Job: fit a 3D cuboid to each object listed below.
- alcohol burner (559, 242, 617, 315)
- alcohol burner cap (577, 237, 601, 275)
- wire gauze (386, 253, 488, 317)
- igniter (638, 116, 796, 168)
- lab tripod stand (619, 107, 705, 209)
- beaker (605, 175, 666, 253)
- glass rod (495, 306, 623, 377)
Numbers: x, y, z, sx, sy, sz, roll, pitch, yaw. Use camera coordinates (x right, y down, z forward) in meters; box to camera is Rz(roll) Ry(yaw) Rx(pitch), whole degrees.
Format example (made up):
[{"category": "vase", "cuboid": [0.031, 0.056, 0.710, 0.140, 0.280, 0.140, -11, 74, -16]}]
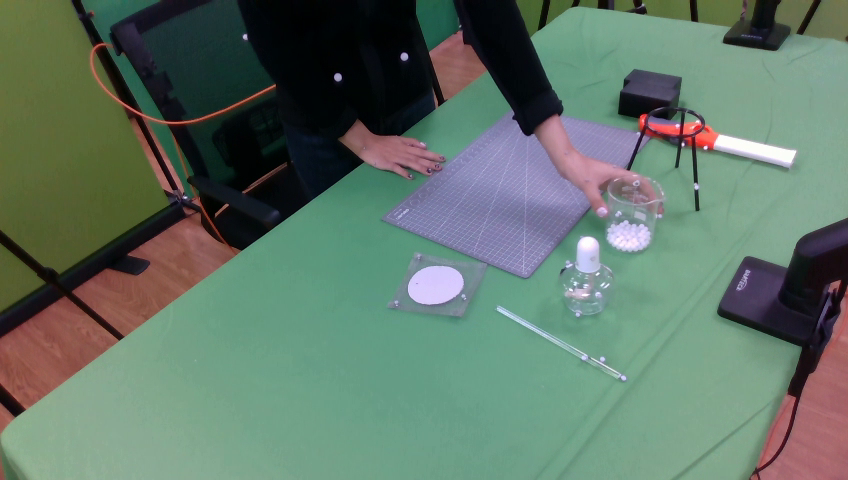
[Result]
[{"category": "alcohol burner", "cuboid": [0.222, 0.045, 0.816, 0.078, 0.119, 0.077, -4, 42, 4]}, {"category": "alcohol burner cap", "cuboid": [0.216, 0.018, 0.793, 0.034, 0.048, 0.033, -7, 35, 6]}, {"category": "wire gauze", "cuboid": [0.021, 0.067, 0.910, 0.121, 0.011, 0.125, 9, 41, 20]}, {"category": "igniter", "cuboid": [0.517, -0.181, 1.093, 0.274, 0.025, 0.057, 23, 65, 32]}, {"category": "lab tripod stand", "cuboid": [0.400, -0.136, 0.981, 0.148, 0.132, 0.147, -4, 41, 4]}, {"category": "beaker", "cuboid": [0.314, -0.036, 0.906, 0.083, 0.101, 0.074, 15, 47, 25]}, {"category": "glass rod", "cuboid": [0.174, 0.132, 0.804, 0.198, 0.008, 0.008, 27, 53, 35]}]
